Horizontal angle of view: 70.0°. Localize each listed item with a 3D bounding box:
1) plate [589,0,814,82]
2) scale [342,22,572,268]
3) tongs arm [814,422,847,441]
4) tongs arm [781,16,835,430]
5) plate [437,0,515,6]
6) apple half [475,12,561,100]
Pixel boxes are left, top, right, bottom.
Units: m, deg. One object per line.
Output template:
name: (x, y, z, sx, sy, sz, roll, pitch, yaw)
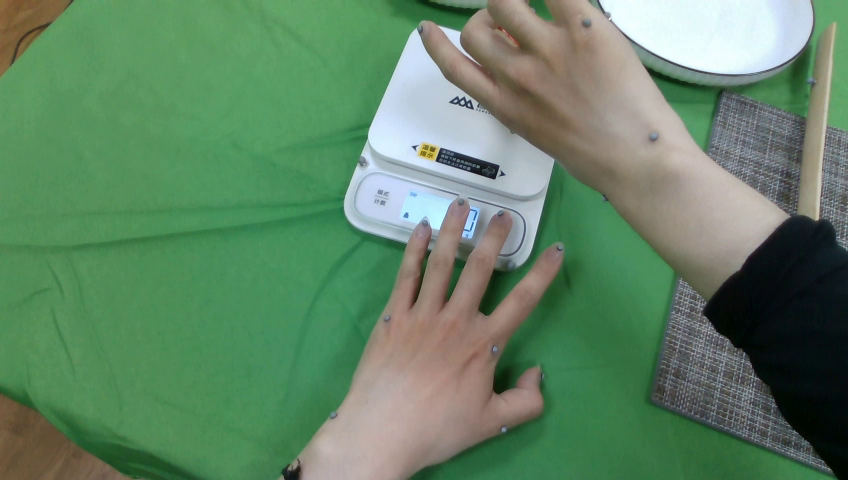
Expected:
plate: (0.254, -0.226, 0.571, 0.209, 0.038, 0.207, 2, 63, -3)
scale: (0.031, -0.084, 0.489, 0.148, 0.032, 0.199, 16, 64, 5)
tongs arm: (0.389, -0.004, 0.470, 0.050, 0.027, 0.383, 32, 66, 11)
tongs arm: (0.315, -0.041, 0.485, 0.028, 0.028, 0.385, 21, 64, 2)
plate: (0.043, -0.302, 0.594, 0.208, 0.039, 0.206, 2, 64, -3)
apple half: (0.076, -0.139, 0.445, 0.081, 0.082, 0.033, 43, 94, 17)
